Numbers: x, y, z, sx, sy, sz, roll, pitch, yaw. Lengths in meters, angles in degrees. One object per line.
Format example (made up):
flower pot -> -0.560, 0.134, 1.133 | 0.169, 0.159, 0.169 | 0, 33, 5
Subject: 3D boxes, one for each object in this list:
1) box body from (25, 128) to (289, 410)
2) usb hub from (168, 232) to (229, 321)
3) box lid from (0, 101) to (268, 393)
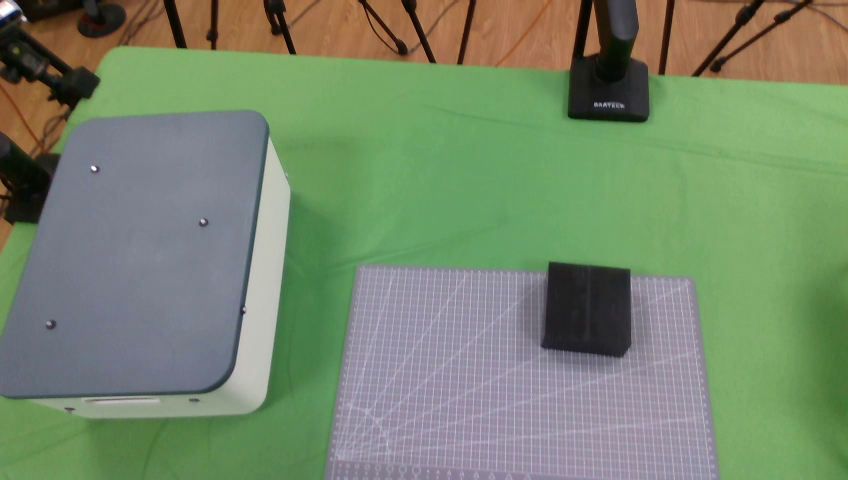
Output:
box body -> -0.321, 0.025, 0.765 | 0.254, 0.162, 0.361 | -2, 63, 3
usb hub -> -0.304, 0.048, 0.820 | 0.049, 0.025, 0.124 | 1, 61, 7
box lid -> -0.326, -0.008, 0.700 | 0.263, 0.015, 0.368 | -2, 63, 3
